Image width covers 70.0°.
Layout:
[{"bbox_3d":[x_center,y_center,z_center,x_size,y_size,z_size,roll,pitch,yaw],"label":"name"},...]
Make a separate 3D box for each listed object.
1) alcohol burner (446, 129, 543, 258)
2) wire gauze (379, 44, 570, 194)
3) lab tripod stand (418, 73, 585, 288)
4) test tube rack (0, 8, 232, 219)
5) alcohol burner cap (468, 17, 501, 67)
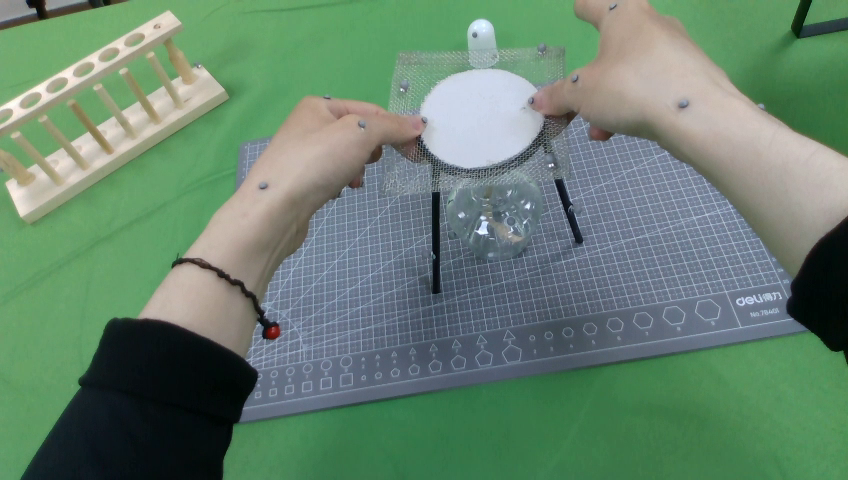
[{"bbox_3d":[0.053,-0.039,0.469,0.078,0.120,0.077,-6,54,9],"label":"alcohol burner"},{"bbox_3d":[0.034,-0.086,0.406,0.121,0.011,0.124,-1,62,10],"label":"wire gauze"},{"bbox_3d":[0.049,-0.043,0.461,0.148,0.133,0.147,-5,58,8],"label":"lab tripod stand"},{"bbox_3d":[-0.335,-0.134,0.631,0.242,0.086,0.066,-37,58,-13],"label":"test tube rack"},{"bbox_3d":[0.062,-0.207,0.627,0.034,0.048,0.033,-6,57,9],"label":"alcohol burner cap"}]
